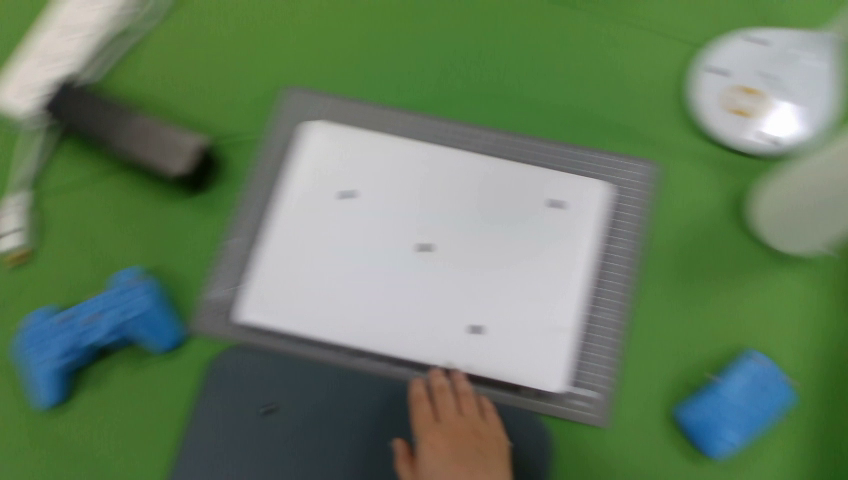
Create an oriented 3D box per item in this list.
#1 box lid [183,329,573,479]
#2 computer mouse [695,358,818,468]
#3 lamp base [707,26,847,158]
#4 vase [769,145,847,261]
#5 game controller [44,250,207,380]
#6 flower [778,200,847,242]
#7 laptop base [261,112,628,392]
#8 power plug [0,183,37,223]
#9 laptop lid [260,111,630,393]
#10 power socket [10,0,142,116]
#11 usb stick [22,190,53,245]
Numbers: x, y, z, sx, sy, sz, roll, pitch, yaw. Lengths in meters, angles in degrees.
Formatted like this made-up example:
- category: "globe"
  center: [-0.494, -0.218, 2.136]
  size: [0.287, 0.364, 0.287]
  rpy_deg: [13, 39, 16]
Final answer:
- category: "box lid"
  center: [-0.058, 0.253, 0.598]
  size: [0.371, 0.015, 0.262]
  rpy_deg: [14, 76, 6]
- category: "computer mouse"
  center: [0.326, 0.166, 0.590]
  size: [0.117, 0.041, 0.062]
  rpy_deg: [-30, 72, -10]
- category: "lamp base"
  center: [0.407, -0.197, 0.612]
  size: [0.179, 0.181, 0.160]
  rpy_deg: [-39, 76, -11]
- category: "vase"
  center: [0.408, -0.048, 0.562]
  size: [0.098, 0.201, 0.097]
  rpy_deg: [-1, 73, 4]
- category: "game controller"
  center: [-0.319, 0.074, 0.637]
  size: [0.155, 0.052, 0.096]
  rpy_deg: [-23, 72, -5]
- category: "flower"
  center: [0.422, -0.074, 0.483]
  size: [0.038, 0.363, 0.043]
  rpy_deg: [5, 64, -13]
- category: "laptop base"
  center: [0.024, 0.005, 0.656]
  size: [0.354, 0.023, 0.234]
  rpy_deg: [14, 79, 6]
- category: "power plug"
  center: [-0.480, -0.038, 0.689]
  size: [0.052, 0.035, 0.072]
  rpy_deg: [11, 34, 30]
- category: "laptop lid"
  center: [0.023, 0.004, 0.644]
  size: [0.356, 0.013, 0.241]
  rpy_deg: [16, 78, 7]
- category: "power socket"
  center: [-0.414, -0.255, 0.737]
  size: [0.072, 0.033, 0.226]
  rpy_deg: [22, 76, 7]
- category: "usb stick"
  center: [-0.431, -0.024, 0.676]
  size: [0.021, 0.027, 0.059]
  rpy_deg: [-6, 81, -7]
